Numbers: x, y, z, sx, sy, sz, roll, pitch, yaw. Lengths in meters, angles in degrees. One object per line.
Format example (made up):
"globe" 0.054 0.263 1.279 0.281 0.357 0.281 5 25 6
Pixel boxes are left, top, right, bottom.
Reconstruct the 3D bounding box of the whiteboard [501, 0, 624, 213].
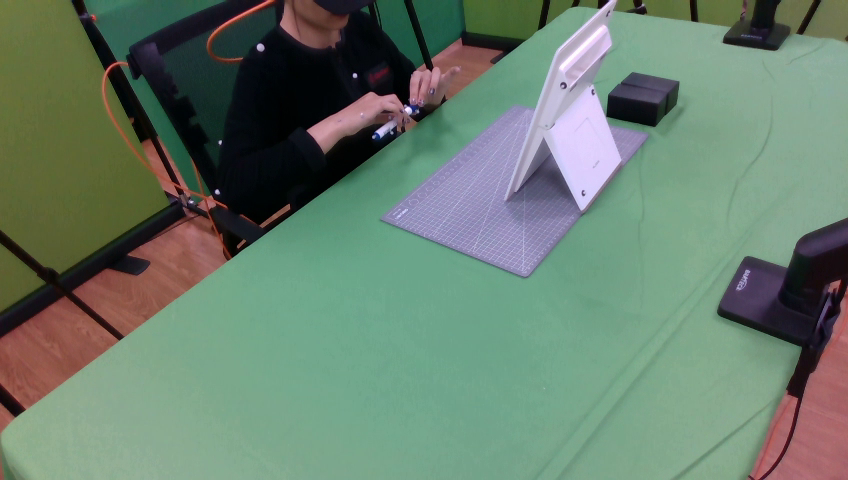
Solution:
"whiteboard" 0.271 -0.189 0.977 0.143 0.306 0.218 34 53 16

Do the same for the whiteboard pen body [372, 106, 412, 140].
"whiteboard pen body" -0.055 -0.233 1.171 0.017 0.017 0.141 18 46 29

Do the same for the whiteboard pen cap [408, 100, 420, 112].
"whiteboard pen cap" -0.023 -0.267 1.208 0.018 0.018 0.033 18 45 28
